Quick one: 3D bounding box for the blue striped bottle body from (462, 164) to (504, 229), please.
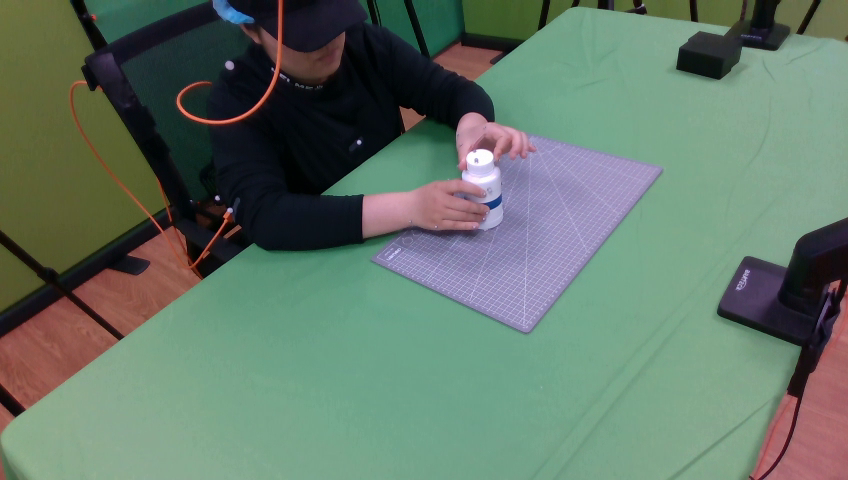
[{"bbox_3d":[0.096,-0.082,0.980,0.063,0.121,0.063,-6,41,6],"label":"blue striped bottle body"}]

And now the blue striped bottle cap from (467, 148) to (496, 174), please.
[{"bbox_3d":[0.090,-0.123,0.944,0.044,0.021,0.044,-8,44,9],"label":"blue striped bottle cap"}]
